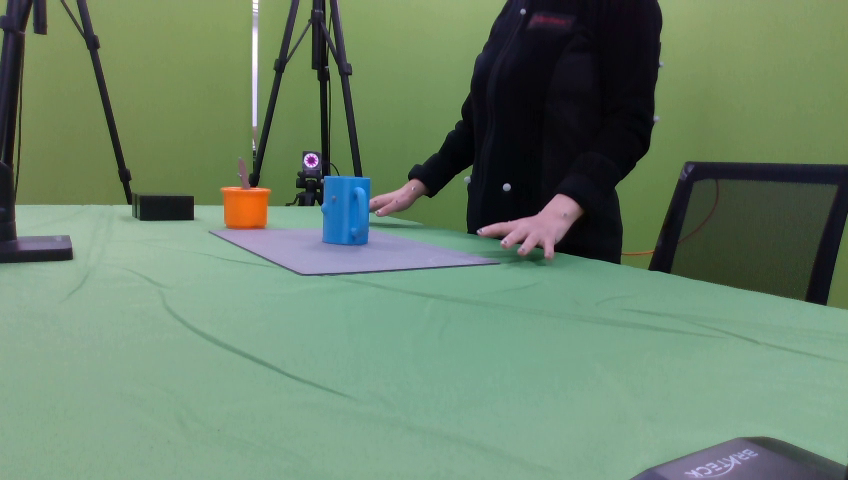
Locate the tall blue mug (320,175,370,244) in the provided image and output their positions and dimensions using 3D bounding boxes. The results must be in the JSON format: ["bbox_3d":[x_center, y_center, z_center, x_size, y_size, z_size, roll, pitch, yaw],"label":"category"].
[{"bbox_3d":[-0.116,-0.049,0.991,0.106,0.108,0.078,7,8,33],"label":"tall blue mug"}]

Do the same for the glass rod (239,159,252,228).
[{"bbox_3d":[-0.346,-0.093,1.170,0.008,0.008,0.199,-1,46,-23],"label":"glass rod"}]
